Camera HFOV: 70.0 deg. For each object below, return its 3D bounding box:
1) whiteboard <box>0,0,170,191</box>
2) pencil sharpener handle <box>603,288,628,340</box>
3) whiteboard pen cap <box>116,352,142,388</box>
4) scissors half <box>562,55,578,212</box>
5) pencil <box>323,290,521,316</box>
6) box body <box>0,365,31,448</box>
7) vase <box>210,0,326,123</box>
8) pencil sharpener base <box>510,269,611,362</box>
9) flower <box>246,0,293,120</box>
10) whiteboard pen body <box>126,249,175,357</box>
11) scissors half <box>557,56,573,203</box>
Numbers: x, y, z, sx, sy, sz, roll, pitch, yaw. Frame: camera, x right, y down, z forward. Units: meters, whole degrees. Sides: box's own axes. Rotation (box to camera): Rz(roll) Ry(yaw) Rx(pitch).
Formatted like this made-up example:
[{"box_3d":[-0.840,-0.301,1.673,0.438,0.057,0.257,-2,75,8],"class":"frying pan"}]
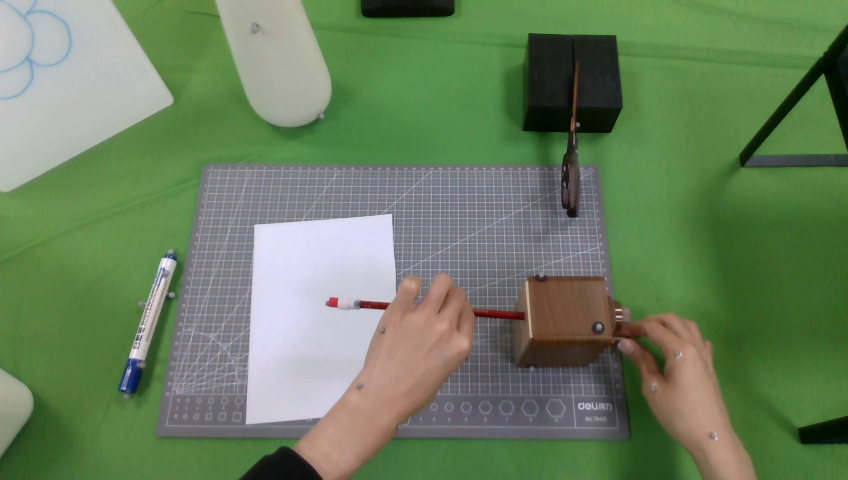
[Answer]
[{"box_3d":[-0.459,-0.246,0.631,0.217,0.309,0.142,-32,51,-12],"class":"whiteboard"},{"box_3d":[0.175,0.070,0.548,0.030,0.068,0.035,-1,51,0],"class":"pencil sharpener handle"},{"box_3d":[-0.287,0.127,0.593,0.018,0.018,0.033,6,63,4],"class":"whiteboard pen cap"},{"box_3d":[0.160,-0.117,0.659,0.012,0.040,0.175,0,86,26],"class":"scissors half"},{"box_3d":[0.007,0.057,0.537,0.194,0.012,0.012,5,67,0],"class":"pencil"},{"box_3d":[-0.577,0.144,0.514,0.363,0.161,0.253,25,70,11],"class":"box body"},{"box_3d":[-0.165,-0.213,0.638,0.098,0.201,0.097,-1,66,2],"class":"vase"},{"box_3d":[0.124,0.072,0.562,0.077,0.108,0.061,-1,67,0],"class":"pencil sharpener base"},{"box_3d":[-0.174,-0.258,0.567,0.044,0.365,0.038,-7,50,2],"class":"flower"},{"box_3d":[-0.281,0.074,0.617,0.017,0.017,0.140,6,66,4],"class":"whiteboard pen body"},{"box_3d":[0.152,-0.122,0.641,0.013,0.040,0.174,0,69,21],"class":"scissors half"}]
